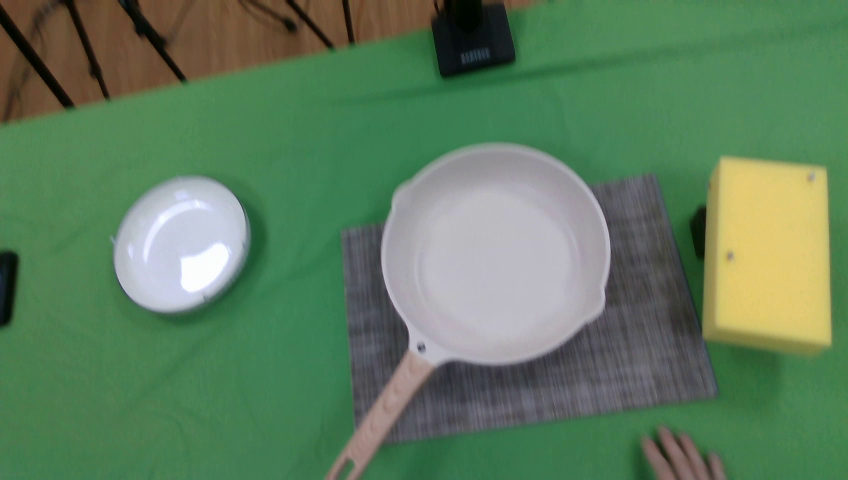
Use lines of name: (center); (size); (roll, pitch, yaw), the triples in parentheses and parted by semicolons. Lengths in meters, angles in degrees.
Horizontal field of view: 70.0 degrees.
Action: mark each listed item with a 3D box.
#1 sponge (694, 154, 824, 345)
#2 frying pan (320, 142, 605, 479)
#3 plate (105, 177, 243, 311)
sponge: (0.389, 0.008, 0.708); (0.118, 0.061, 0.205); (7, 70, 12)
frying pan: (0.025, 0.090, 0.762); (0.305, 0.103, 0.486); (30, 69, 20)
plate: (-0.363, 0.007, 0.896); (0.207, 0.039, 0.206); (-3, 69, 8)
